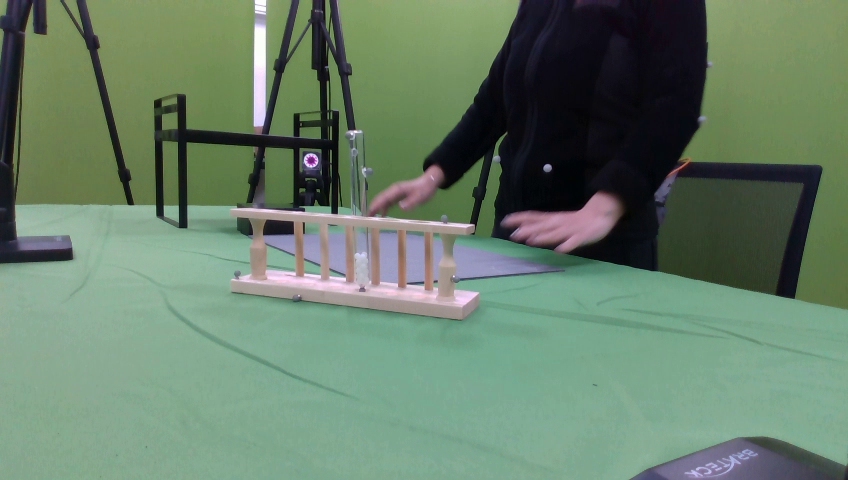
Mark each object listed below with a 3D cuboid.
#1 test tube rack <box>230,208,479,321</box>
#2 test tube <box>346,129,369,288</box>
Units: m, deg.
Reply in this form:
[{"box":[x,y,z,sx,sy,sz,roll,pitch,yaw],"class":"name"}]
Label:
[{"box":[-0.069,0.017,0.598,0.242,0.085,0.067,5,8,18],"class":"test tube rack"},{"box":[-0.062,-0.028,0.570,0.017,0.150,0.017,-1,10,1],"class":"test tube"}]
